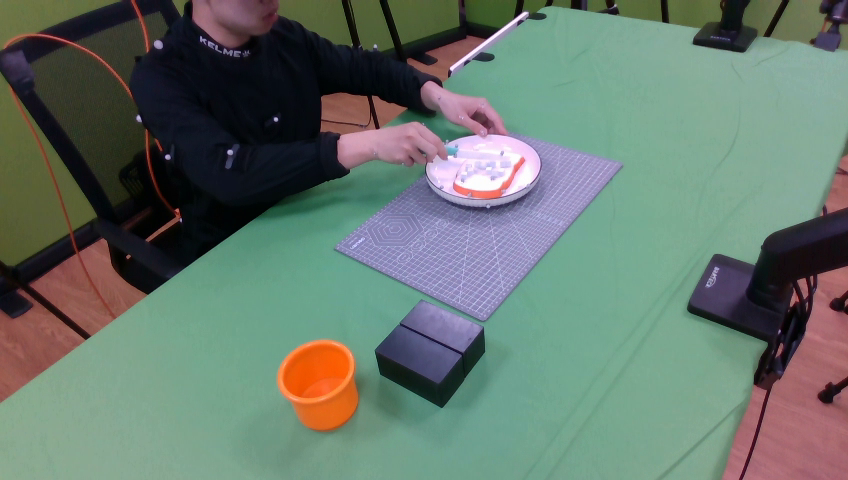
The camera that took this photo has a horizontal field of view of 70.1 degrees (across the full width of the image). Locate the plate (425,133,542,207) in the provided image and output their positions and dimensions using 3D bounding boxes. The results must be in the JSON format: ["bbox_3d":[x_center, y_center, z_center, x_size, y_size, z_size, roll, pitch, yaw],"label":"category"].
[{"bbox_3d":[0.105,-0.121,1.079,0.209,0.038,0.208,-4,41,4],"label":"plate"}]

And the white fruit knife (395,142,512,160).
[{"bbox_3d":[0.052,-0.155,1.066,0.207,0.027,0.016,5,52,0],"label":"white fruit knife"}]

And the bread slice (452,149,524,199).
[{"bbox_3d":[0.111,-0.119,1.078,0.104,0.019,0.131,12,43,21],"label":"bread slice"}]
